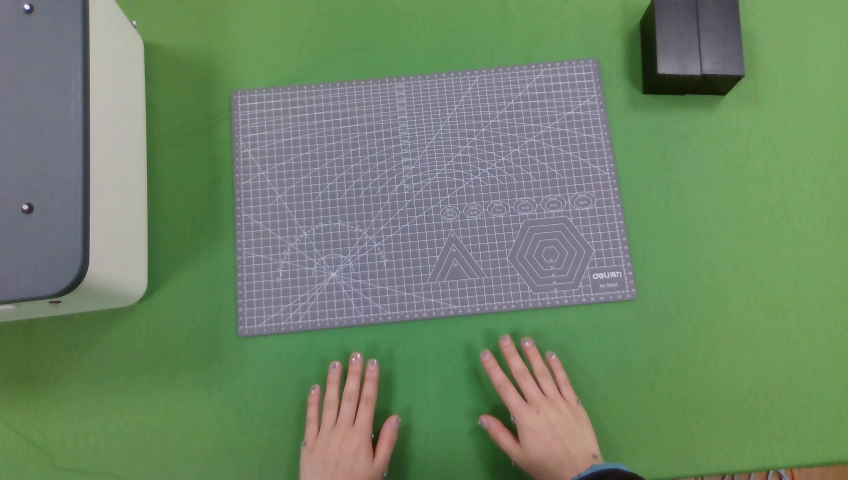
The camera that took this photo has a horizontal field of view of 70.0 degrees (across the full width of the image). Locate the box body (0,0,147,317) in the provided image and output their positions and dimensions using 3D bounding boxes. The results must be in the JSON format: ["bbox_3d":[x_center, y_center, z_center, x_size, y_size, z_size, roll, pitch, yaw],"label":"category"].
[{"bbox_3d":[-0.448,-0.102,0.644,0.254,0.161,0.362,-7,78,-1],"label":"box body"}]

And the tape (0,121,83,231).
[{"bbox_3d":[-0.456,-0.071,0.686,0.117,0.053,0.116,-1,76,3],"label":"tape"}]

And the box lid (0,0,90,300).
[{"bbox_3d":[-0.449,-0.121,0.572,0.263,0.015,0.369,-7,79,-1],"label":"box lid"}]
